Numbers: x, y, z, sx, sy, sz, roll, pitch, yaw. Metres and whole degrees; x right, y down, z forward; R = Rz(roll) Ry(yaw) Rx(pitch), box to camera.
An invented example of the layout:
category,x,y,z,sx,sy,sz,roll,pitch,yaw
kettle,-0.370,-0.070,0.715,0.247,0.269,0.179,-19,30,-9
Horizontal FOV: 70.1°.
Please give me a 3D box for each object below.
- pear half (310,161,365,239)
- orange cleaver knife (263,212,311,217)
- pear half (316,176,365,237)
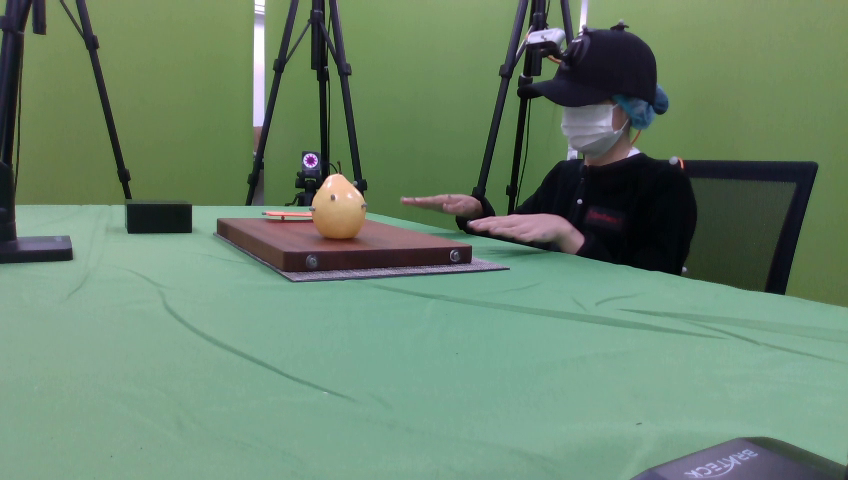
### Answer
category,x,y,z,sx,sy,sz,roll,pitch,yaw
pear half,-0.122,-0.055,0.837,0.076,0.110,0.056,-2,7,1
orange cleaver knife,-0.192,-0.045,1.097,0.212,0.012,0.077,0,4,-38
pear half,-0.120,-0.049,0.874,0.070,0.088,0.031,-2,8,0
